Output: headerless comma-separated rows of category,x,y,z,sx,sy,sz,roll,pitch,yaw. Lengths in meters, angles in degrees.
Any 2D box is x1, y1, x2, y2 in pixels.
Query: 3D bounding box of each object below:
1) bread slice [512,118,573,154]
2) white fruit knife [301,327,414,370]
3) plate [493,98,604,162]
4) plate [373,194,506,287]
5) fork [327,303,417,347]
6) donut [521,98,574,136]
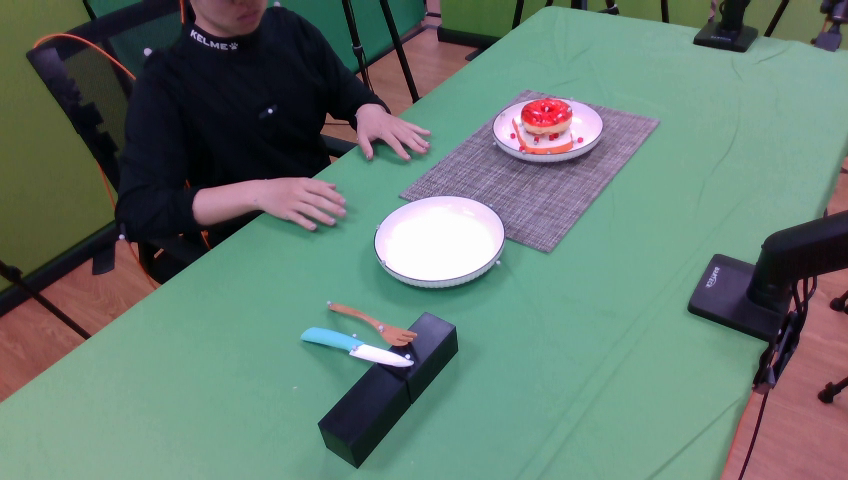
bread slice,0.232,-0.204,1.160,0.105,0.019,0.131,-7,39,1
white fruit knife,-0.088,0.140,0.781,0.205,0.016,0.027,7,42,42
plate,0.237,-0.206,1.158,0.209,0.038,0.208,-4,40,4
plate,0.025,0.003,0.951,0.207,0.039,0.206,-4,41,4
fork,-0.077,0.110,0.811,0.028,0.019,0.205,-41,33,-26
donut,0.232,-0.233,1.135,0.099,0.048,0.098,-4,41,4
